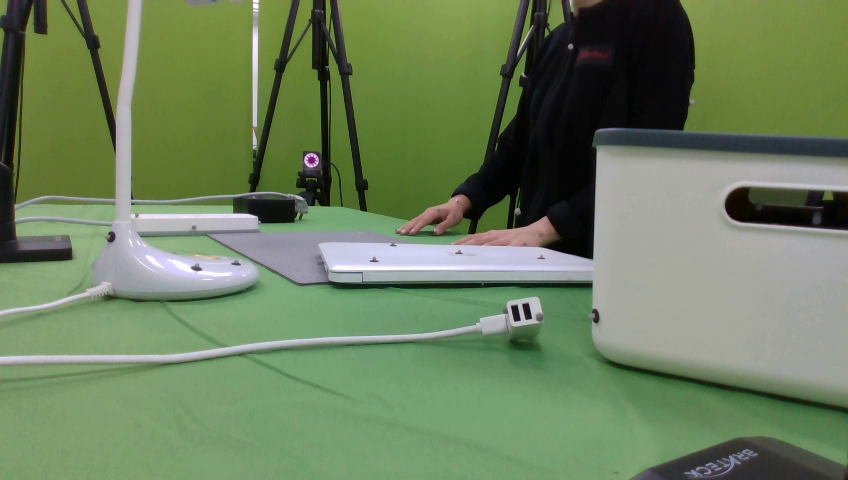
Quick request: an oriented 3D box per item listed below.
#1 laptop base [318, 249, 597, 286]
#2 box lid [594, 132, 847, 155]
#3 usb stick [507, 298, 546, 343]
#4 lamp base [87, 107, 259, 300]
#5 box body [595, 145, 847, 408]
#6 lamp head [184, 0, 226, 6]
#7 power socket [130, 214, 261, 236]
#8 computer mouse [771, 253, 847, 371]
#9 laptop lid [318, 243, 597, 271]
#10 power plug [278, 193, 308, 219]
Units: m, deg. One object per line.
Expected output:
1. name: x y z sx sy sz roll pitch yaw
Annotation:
1. laptop base: 0.046 0.034 0.789 0.355 0.023 0.235 1 5 -14
2. box lid: 0.310 -0.066 0.499 0.262 0.015 0.373 7 8 29
3. usb stick: 0.079 0.065 0.470 0.027 0.021 0.059 -12 -24 4
4. lamp base: -0.254 -0.039 0.603 0.160 0.180 0.179 5 10 18
5. box body: 0.309 0.007 0.510 0.253 0.160 0.366 6 8 29
6. lamp head: -0.229 -0.320 0.627 0.112 0.112 0.123 6 -35 26
7. power socket: -0.397 -0.028 1.048 0.228 0.032 0.072 -3 8 -35
8. computer mouse: 0.344 0.057 0.518 0.063 0.041 0.117 13 48 2
9. laptop lid: 0.046 0.022 0.789 0.358 0.013 0.241 1 6 -12
10. power plug: -0.293 -0.076 1.344 0.073 0.052 0.035 17 16 -16
